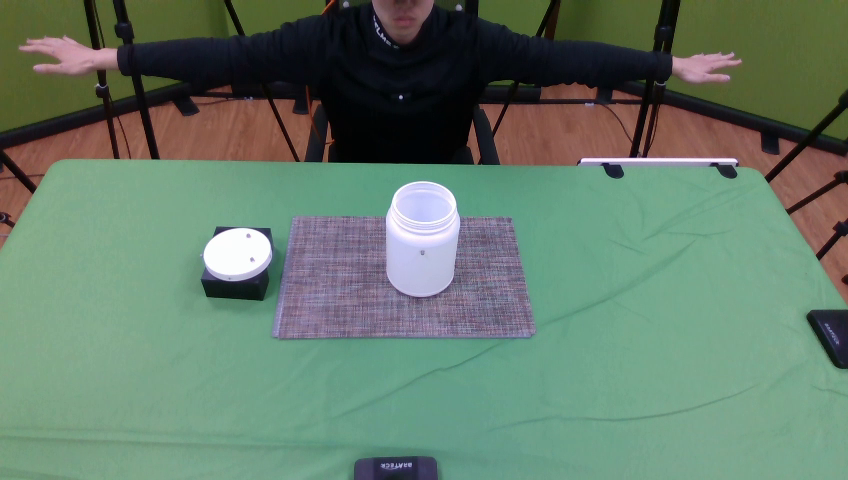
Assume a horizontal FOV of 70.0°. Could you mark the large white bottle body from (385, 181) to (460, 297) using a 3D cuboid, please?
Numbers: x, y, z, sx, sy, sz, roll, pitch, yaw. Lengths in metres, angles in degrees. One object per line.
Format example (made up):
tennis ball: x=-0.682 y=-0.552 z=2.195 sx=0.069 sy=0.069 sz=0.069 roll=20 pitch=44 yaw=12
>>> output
large white bottle body: x=-0.004 y=-0.003 z=1.082 sx=0.131 sy=0.185 sz=0.130 roll=2 pitch=46 yaw=-2

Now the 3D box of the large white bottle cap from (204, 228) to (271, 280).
large white bottle cap: x=-0.333 y=0.024 z=1.084 sx=0.115 sy=0.018 sz=0.114 roll=2 pitch=46 yaw=-2
